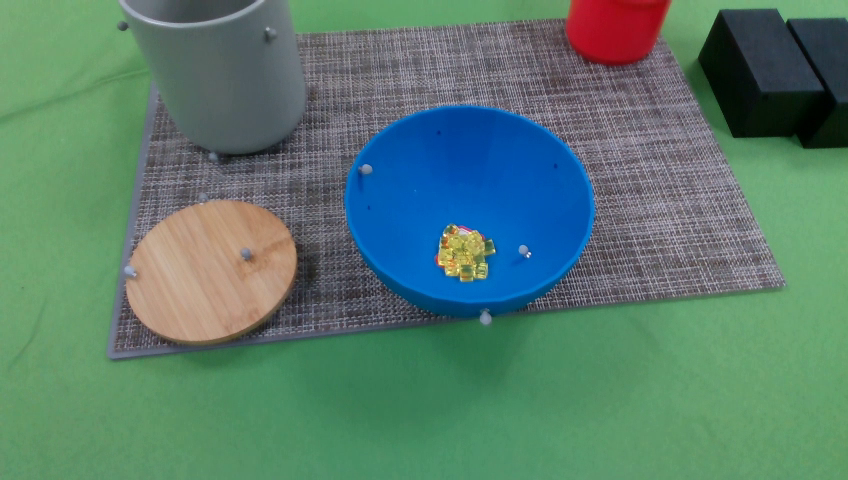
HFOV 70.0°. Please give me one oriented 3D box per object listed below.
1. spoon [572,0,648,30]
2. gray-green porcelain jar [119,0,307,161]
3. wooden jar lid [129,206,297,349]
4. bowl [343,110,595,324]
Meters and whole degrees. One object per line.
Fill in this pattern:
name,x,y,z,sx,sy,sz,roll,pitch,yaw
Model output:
spoon,0.206,-0.211,0.495,0.022,0.193,0.041,49,57,-24
gray-green porcelain jar,-0.145,-0.130,0.445,0.106,0.127,0.105,1,56,-1
wooden jar lid,-0.138,0.025,0.405,0.108,0.021,0.107,0,55,0
bowl,0.027,-0.004,0.393,0.151,0.077,0.150,1,56,-1
